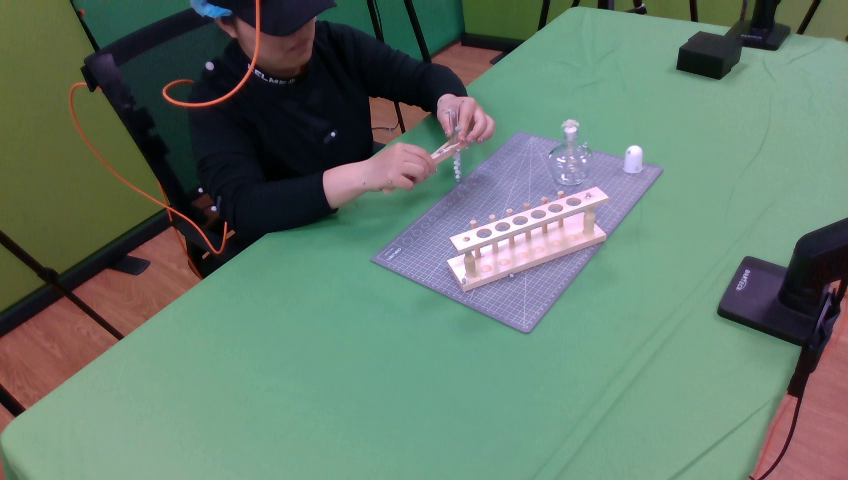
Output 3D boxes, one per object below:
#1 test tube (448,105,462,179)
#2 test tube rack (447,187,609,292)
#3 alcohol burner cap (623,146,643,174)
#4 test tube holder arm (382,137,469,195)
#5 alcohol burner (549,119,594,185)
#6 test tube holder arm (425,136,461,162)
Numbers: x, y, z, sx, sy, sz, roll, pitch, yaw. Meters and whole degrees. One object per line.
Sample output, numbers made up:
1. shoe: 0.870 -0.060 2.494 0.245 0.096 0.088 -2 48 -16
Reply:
1. test tube: 0.055 -0.167 1.050 0.017 0.151 0.017 -4 43 4
2. test tube rack: 0.155 -0.011 0.913 0.243 0.085 0.066 -19 41 -11
3. alcohol burner cap: 0.369 -0.142 1.061 0.034 0.048 0.033 -7 40 6
4. test tube holder arm: 0.005 -0.126 1.022 0.179 0.015 0.013 -34 33 -20
5. alcohol burner: 0.254 -0.155 1.043 0.078 0.120 0.077 -7 40 6
6. test tube holder arm: 0.034 -0.152 1.043 0.010 0.015 0.088 15 47 44
